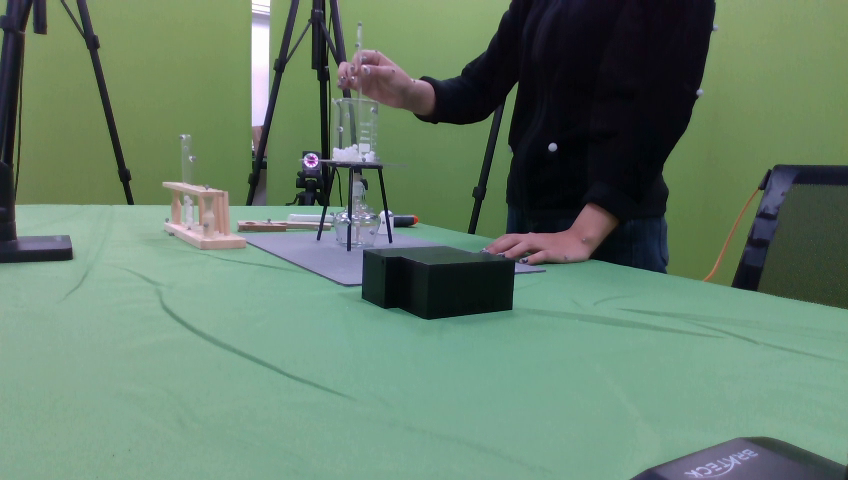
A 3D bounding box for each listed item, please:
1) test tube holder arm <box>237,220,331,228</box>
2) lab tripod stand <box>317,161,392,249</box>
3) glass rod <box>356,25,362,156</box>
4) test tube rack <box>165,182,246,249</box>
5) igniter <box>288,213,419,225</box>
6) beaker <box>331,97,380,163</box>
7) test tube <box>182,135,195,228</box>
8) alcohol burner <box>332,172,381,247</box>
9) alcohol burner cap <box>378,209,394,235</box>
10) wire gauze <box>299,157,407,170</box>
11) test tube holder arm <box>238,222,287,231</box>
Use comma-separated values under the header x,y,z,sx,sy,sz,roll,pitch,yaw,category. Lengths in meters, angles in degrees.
x,y,z,sx,sy,sz,roll,pitch,yaw,category
-0.261,-0.029,1.141,0.179,0.015,0.013,-2,42,-33,test tube holder arm
-0.111,-0.059,0.964,0.148,0.131,0.148,4,8,0,lab tripod stand
-0.099,-0.228,0.924,0.008,0.199,0.008,0,1,0,glass rod
-0.360,-0.044,0.982,0.067,0.085,0.241,-3,9,-34,test tube rack
-0.145,-0.044,1.278,0.278,0.025,0.057,-1,-2,-21,igniter
-0.111,-0.171,0.950,0.073,0.100,0.084,12,12,42,beaker
-0.382,-0.095,0.983,0.017,0.150,0.017,-1,2,0,test tube
-0.107,-0.048,0.961,0.078,0.119,0.078,1,9,0,alcohol burner
-0.072,-0.035,1.145,0.034,0.048,0.034,2,7,0,alcohol burner cap
-0.112,-0.124,0.959,0.121,0.011,0.126,13,11,40,wire gauze
-0.297,-0.024,1.113,0.088,0.015,0.010,-1,42,-32,test tube holder arm
